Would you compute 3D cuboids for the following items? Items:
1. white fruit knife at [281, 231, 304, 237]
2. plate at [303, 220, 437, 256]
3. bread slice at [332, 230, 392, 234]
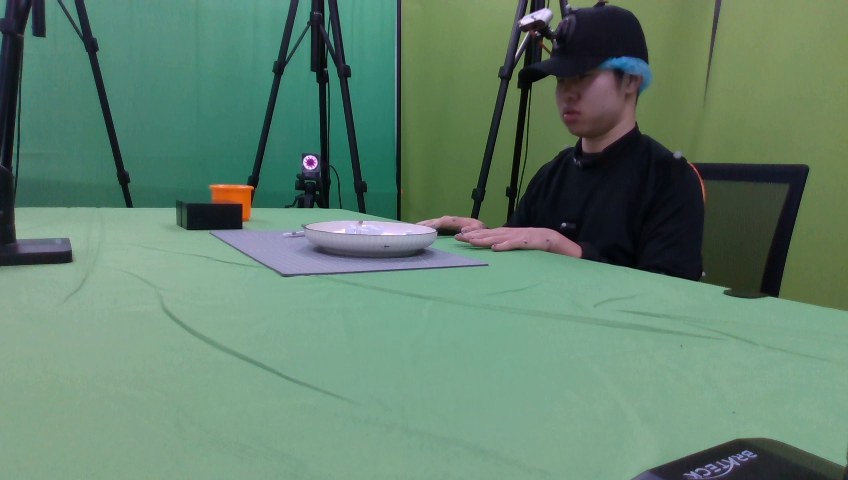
[{"bbox_3d":[-0.178,-0.017,1.131,0.208,0.016,0.027,-8,-17,-47],"label":"white fruit knife"},{"bbox_3d":[-0.084,-0.003,0.951,0.209,0.038,0.209,3,7,0],"label":"plate"},{"bbox_3d":[-0.088,-0.001,0.947,0.105,0.019,0.131,-5,11,-45],"label":"bread slice"}]
